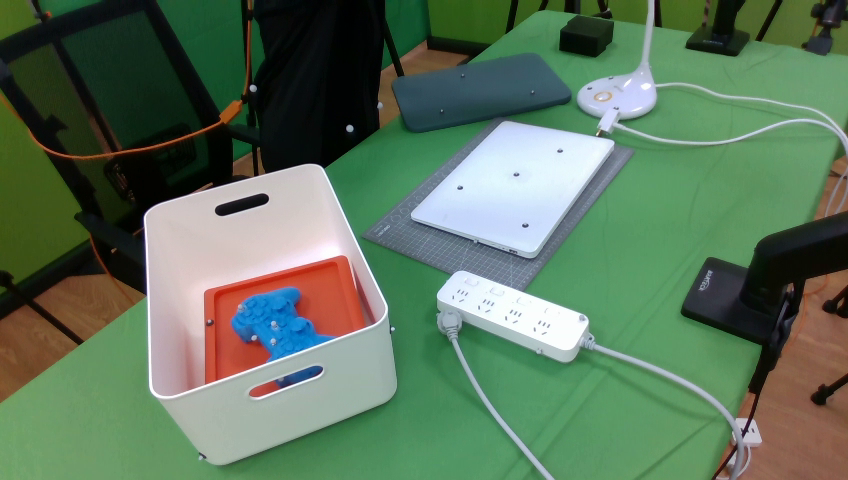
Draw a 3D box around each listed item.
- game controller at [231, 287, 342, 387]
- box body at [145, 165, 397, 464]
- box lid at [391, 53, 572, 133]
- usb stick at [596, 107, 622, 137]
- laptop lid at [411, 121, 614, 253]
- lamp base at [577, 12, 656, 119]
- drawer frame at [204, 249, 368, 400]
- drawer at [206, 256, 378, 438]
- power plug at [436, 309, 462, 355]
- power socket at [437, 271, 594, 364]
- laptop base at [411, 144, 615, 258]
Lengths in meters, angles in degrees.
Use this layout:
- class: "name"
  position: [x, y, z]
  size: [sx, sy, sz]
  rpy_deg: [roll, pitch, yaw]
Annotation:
- class: "game controller"
  position: [-0.167, 0.110, 0.734]
  size: [0.097, 0.052, 0.154]
  rpy_deg: [-34, 47, -22]
- class: "box body"
  position: [-0.205, 0.080, 0.802]
  size: [0.255, 0.161, 0.361]
  rpy_deg: [-18, 41, -13]
- class: "box lid"
  position: [0.122, -0.339, 1.366]
  size: [0.372, 0.015, 0.261]
  rpy_deg: [-12, 40, -5]
- class: "usb stick"
  position: [0.355, -0.223, 1.168]
  size: [0.027, 0.059, 0.022]
  rpy_deg: [37, 14, 34]
- class: "laptop lid"
  position: [0.164, -0.112, 1.068]
  size: [0.240, 0.013, 0.357]
  rpy_deg: [19, 46, 30]
- class: "lamp base"
  position: [0.404, -0.360, 1.218]
  size: [0.180, 0.181, 0.159]
  rpy_deg: [-24, 43, -23]
- class: "drawer frame"
  position: [-0.174, 0.129, 0.790]
  size: [0.202, 0.083, 0.212]
  rpy_deg: [-16, 45, -8]
- class: "drawer"
  position: [-0.177, 0.130, 0.787]
  size: [0.195, 0.073, 0.210]
  rpy_deg: [-14, 39, -9]
- class: "power plug"
  position: [0.032, 0.126, 0.810]
  size: [0.035, 0.053, 0.072]
  rpy_deg: [3, 59, 7]
- class: "power socket"
  position: [0.118, 0.102, 0.830]
  size: [0.225, 0.033, 0.072]
  rpy_deg: [20, 48, 28]
- class: "laptop base"
  position: [0.167, -0.102, 1.075]
  size: [0.234, 0.023, 0.355]
  rpy_deg: [16, 45, 30]
